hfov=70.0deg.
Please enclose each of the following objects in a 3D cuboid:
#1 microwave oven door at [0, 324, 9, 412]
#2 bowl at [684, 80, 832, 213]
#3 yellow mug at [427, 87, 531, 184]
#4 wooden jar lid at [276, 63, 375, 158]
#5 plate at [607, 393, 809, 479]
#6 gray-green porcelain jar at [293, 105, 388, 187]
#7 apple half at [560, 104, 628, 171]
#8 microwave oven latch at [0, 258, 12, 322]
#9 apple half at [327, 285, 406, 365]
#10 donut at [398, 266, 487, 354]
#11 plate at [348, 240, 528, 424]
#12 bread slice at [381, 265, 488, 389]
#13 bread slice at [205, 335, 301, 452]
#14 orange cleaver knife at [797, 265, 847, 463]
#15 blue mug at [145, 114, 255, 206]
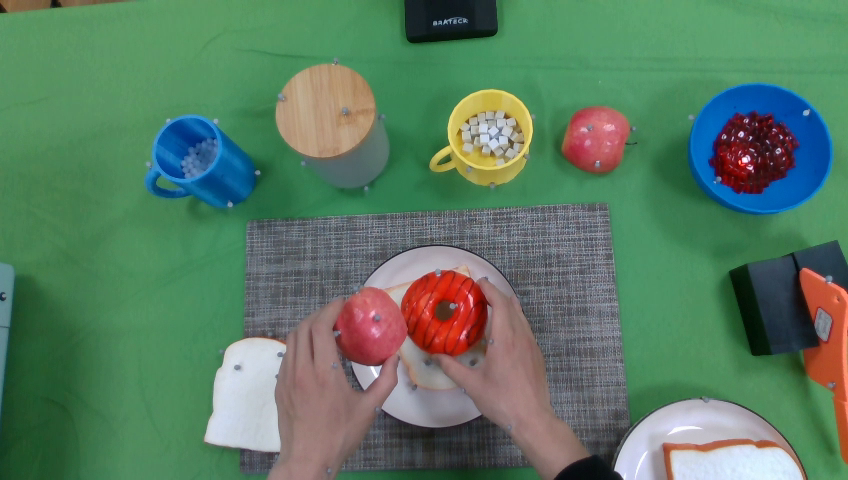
[{"bbox_3d":[-0.534,0.254,0.600,0.039,0.245,0.354,-3,78,5],"label":"microwave oven door"},{"bbox_3d":[0.367,-0.097,0.694,0.151,0.077,0.150,-1,79,5],"label":"bowl"},{"bbox_3d":[0.064,-0.117,0.731,0.131,0.064,0.099,-26,77,0],"label":"yellow mug"},{"bbox_3d":[-0.106,-0.138,0.655,0.108,0.021,0.108,-1,77,5],"label":"wooden jar lid"},{"bbox_3d":[0.299,0.270,0.649,0.209,0.038,0.208,-1,79,5],"label":"plate"},{"bbox_3d":[-0.100,-0.125,0.716,0.106,0.127,0.105,-1,78,5],"label":"gray-green porcelain jar"},{"bbox_3d":[0.206,-0.129,0.728,0.074,0.053,0.080,19,82,11],"label":"apple half"},{"bbox_3d":[-0.529,0.061,0.742,0.030,0.029,0.079,0,79,5],"label":"microwave oven latch"},{"bbox_3d":[-0.056,0.086,0.594,0.081,0.033,0.081,0,89,4],"label":"apple half"},{"bbox_3d":[0.020,0.077,0.668,0.099,0.048,0.098,0,78,2],"label":"donut"},{"bbox_3d":[0.014,0.105,0.702,0.207,0.039,0.206,-1,79,5],"label":"plate"},{"bbox_3d":[0.020,0.104,0.702,0.107,0.018,0.133,-18,78,2],"label":"bread slice"},{"bbox_3d":[-0.201,0.178,0.717,0.105,0.019,0.131,5,81,5],"label":"bread slice"},{"bbox_3d":[0.428,0.131,0.642,0.012,0.077,0.212,-14,100,-4],"label":"orange cleaver knife"},{"bbox_3d":[-0.277,-0.086,0.734,0.116,0.106,0.082,-29,77,-1],"label":"blue mug"}]
